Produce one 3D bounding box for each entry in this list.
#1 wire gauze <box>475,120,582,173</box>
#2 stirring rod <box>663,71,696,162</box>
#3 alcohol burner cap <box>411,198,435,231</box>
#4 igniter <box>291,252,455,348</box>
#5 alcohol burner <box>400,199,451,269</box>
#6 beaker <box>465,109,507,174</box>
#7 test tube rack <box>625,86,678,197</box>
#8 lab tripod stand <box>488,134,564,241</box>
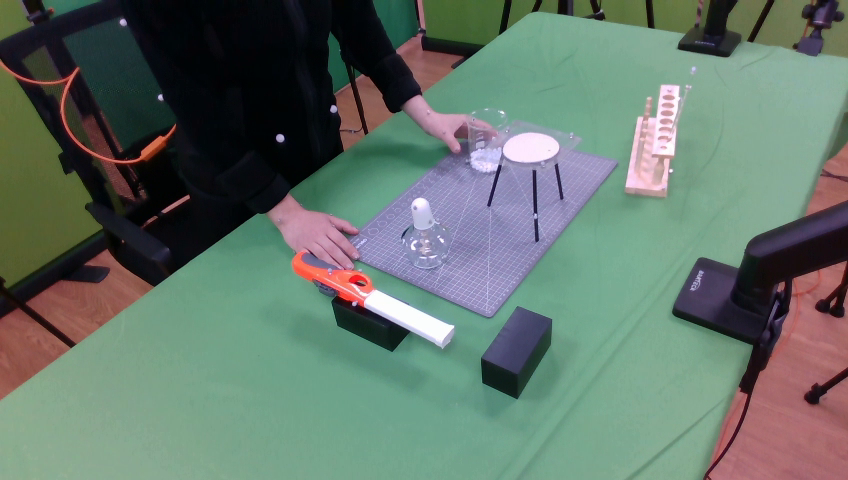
[{"bbox_3d":[0.161,-0.143,0.928,0.120,0.011,0.125,20,47,31],"label":"wire gauze"},{"bbox_3d":[0.410,-0.195,0.981,0.014,0.177,0.006,12,50,14],"label":"stirring rod"},{"bbox_3d":[-0.003,-0.041,0.893,0.034,0.048,0.033,-7,41,7],"label":"alcohol burner cap"},{"bbox_3d":[-0.080,0.076,0.822,0.274,0.025,0.057,23,45,27],"label":"igniter"},{"bbox_3d":[0.000,-0.013,0.917,0.078,0.119,0.077,-5,41,5],"label":"alcohol burner"},{"bbox_3d":[0.118,-0.180,1.109,0.084,0.100,0.073,-27,44,-23],"label":"beaker"},{"bbox_3d":[0.412,-0.184,1.088,0.066,0.085,0.242,9,43,18],"label":"test tube rack"},{"bbox_3d":[0.168,-0.092,0.972,0.148,0.132,0.147,-5,41,5],"label":"lab tripod stand"}]
